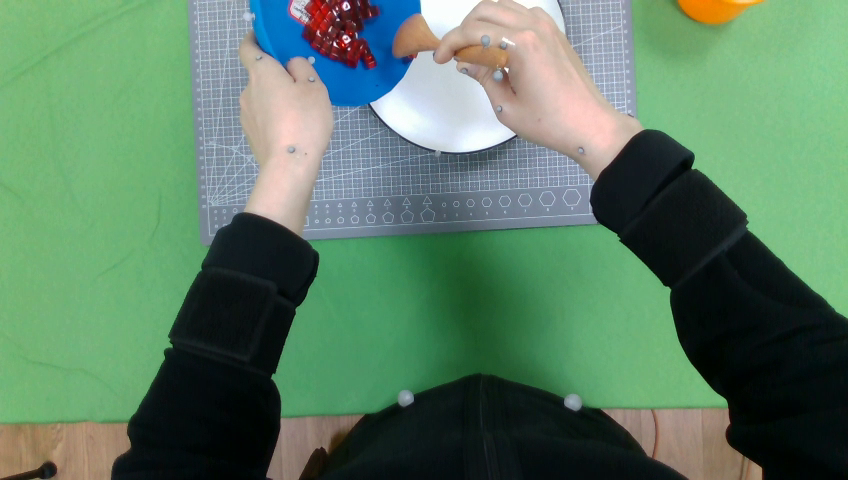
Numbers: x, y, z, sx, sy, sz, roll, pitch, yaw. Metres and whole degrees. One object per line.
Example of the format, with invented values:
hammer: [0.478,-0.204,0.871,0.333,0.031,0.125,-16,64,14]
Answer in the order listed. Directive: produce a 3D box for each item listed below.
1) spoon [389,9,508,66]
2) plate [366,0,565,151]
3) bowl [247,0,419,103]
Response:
spoon: [0.014,-0.147,0.449,0.022,0.191,0.041,28,98,-35]
plate: [0.033,-0.191,0.597,0.209,0.038,0.209,0,90,3]
bowl: [-0.086,-0.194,0.508,0.152,0.076,0.152,-13,112,-36]
